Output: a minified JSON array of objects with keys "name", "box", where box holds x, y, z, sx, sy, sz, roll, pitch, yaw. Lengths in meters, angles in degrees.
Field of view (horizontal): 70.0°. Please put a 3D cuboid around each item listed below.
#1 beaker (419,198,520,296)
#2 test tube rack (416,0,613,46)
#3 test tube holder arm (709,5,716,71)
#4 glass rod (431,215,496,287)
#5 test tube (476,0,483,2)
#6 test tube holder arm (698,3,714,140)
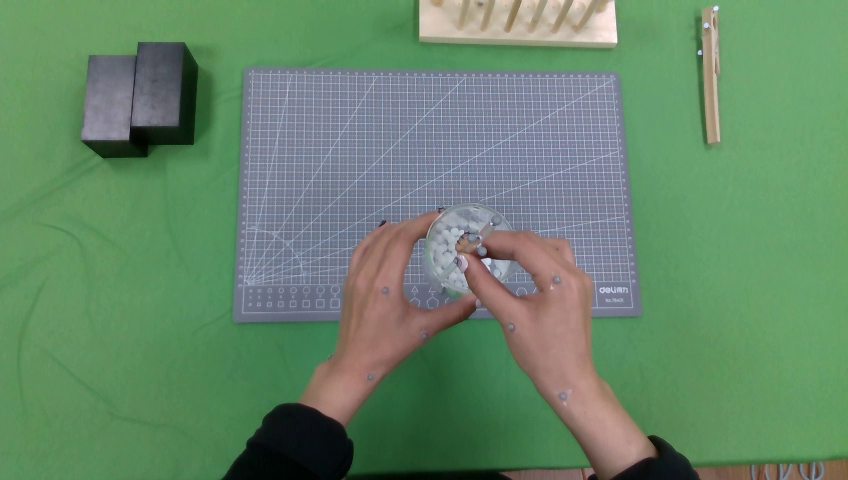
[{"name":"beaker","box":[0.035,0.012,0.529,0.084,0.100,0.074,17,81,-1]},{"name":"test tube rack","box":[0.114,-0.285,0.713,0.242,0.085,0.066,1,77,-4]},{"name":"test tube holder arm","box":[0.355,-0.250,0.756,0.010,0.015,0.087,13,75,-31]},{"name":"glass rod","box":[0.025,0.014,0.466,0.008,0.200,0.008,3,74,-9]},{"name":"test tube","box":[0.078,-0.313,0.666,0.017,0.150,0.017,3,75,-10]},{"name":"test tube holder arm","box":[0.347,-0.208,0.743,0.013,0.015,0.177,13,76,-31]}]
